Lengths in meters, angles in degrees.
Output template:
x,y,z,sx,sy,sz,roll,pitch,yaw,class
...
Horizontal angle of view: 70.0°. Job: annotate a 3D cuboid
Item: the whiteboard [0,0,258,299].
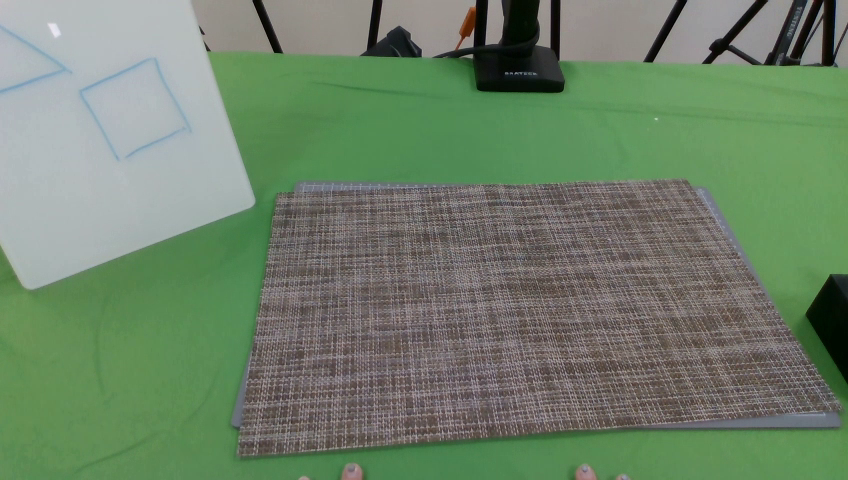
x,y,z,sx,sy,sz,roll,pitch,yaw,class
-0.321,-0.143,0.562,0.217,0.308,0.142,-25,29,-26,whiteboard
